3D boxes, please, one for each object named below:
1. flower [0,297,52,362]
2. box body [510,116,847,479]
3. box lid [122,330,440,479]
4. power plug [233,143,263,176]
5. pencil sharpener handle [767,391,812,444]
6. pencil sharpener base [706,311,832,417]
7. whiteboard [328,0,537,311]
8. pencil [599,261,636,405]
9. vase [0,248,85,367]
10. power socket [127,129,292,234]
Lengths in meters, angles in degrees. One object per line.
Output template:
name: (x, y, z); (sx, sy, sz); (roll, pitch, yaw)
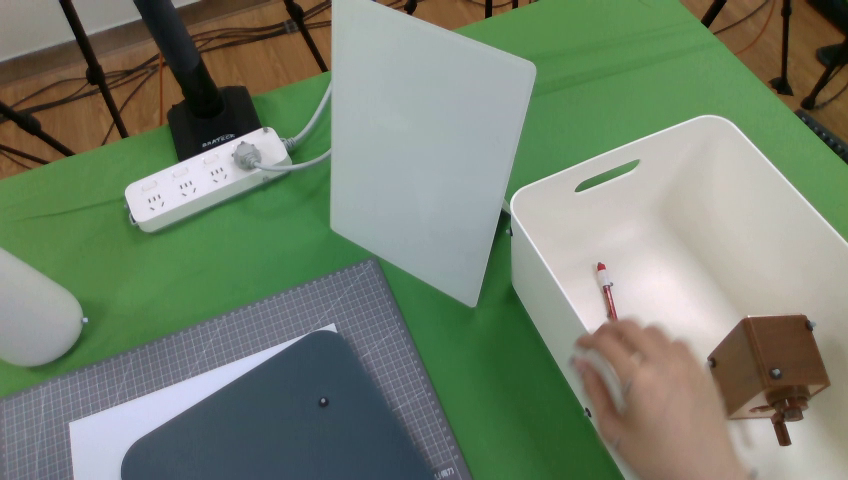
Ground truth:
flower: (-0.454, -0.001, 0.572); (0.038, 0.365, 0.043); (-32, 43, -23)
box body: (0.267, 0.087, 0.585); (0.254, 0.162, 0.360); (-22, 59, -10)
box lid: (-0.110, 0.281, 0.580); (0.263, 0.015, 0.368); (-32, 62, -15)
power plug: (-0.225, -0.094, 0.782); (0.035, 0.053, 0.072); (-18, 60, -7)
pencil sharpener handle: (0.331, 0.161, 0.546); (0.036, 0.068, 0.030); (-9, 57, 12)
pencil sharpener base: (0.327, 0.125, 0.583); (0.061, 0.108, 0.076); (-2, 58, 2)
whiteboard: (0.023, -0.110, 0.677); (0.216, 0.308, 0.143); (28, 45, 20)
pencil: (0.212, 0.110, 0.660); (0.012, 0.012, 0.192); (-4, 61, 2)
vase: (-0.448, 0.059, 0.631); (0.098, 0.202, 0.097); (-3, 58, 4)
power socket: (-0.282, -0.080, 0.804); (0.227, 0.033, 0.071); (-26, 61, -12)
